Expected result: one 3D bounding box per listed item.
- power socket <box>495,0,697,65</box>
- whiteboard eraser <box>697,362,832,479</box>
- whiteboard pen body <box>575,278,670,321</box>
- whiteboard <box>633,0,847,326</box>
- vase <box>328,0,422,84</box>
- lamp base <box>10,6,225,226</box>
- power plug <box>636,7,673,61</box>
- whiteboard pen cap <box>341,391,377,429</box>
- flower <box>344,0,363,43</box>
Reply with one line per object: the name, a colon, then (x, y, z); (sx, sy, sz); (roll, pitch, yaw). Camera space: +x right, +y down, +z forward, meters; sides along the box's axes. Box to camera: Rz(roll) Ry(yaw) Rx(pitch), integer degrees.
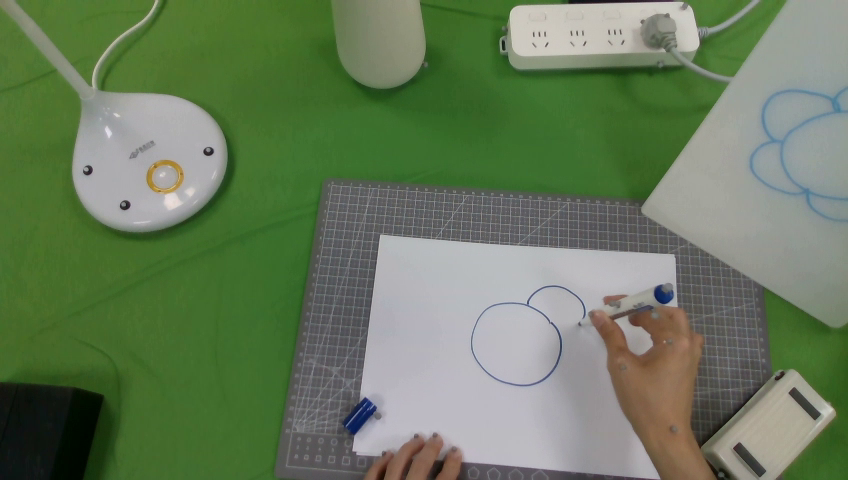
power socket: (0.196, -0.237, 0.688); (0.227, 0.033, 0.071); (-1, 71, 0)
whiteboard eraser: (0.297, 0.163, 0.533); (0.112, 0.042, 0.055); (-38, 73, -12)
whiteboard pen body: (0.165, 0.055, 0.523); (0.017, 0.141, 0.017); (4, 72, -13)
whiteboard: (0.370, -0.105, 0.526); (0.216, 0.307, 0.143); (34, 53, 13)
vase: (-0.054, -0.247, 0.606); (0.098, 0.201, 0.097); (-1, 69, 2)
lamp base: (-0.304, -0.123, 0.573); (0.178, 0.181, 0.160); (36, 74, 16)
power plug: (0.247, -0.218, 0.656); (0.035, 0.053, 0.072); (9, 76, 4)
whiteboard pen cap: (-0.059, 0.155, 0.553); (0.018, 0.018, 0.033); (38, 73, 14)
flower: (-0.037, -0.267, 0.526); (0.044, 0.361, 0.038); (-38, 91, -21)
